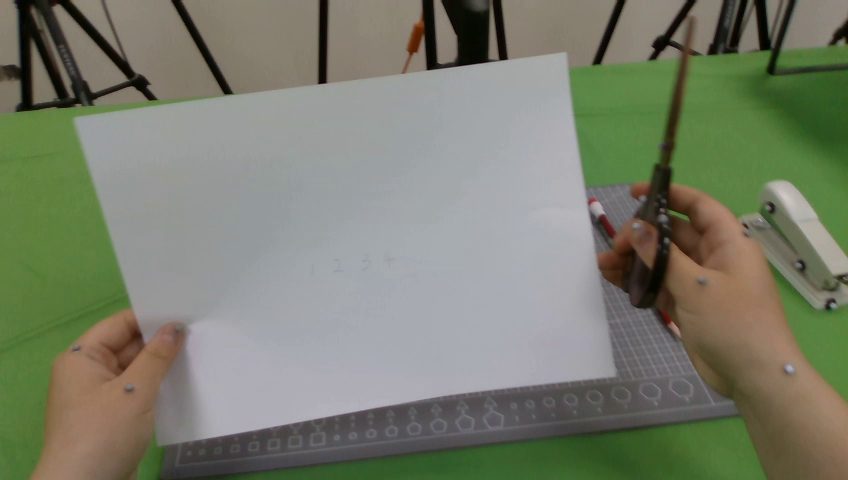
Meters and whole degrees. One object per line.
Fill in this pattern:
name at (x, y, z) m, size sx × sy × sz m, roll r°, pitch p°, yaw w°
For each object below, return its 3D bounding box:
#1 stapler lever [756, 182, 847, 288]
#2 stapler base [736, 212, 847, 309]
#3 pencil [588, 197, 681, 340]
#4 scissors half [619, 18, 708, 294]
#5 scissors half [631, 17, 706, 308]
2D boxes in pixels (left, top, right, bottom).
stapler lever at (0.346, -0.009, 0.550) m, size 0.027 × 0.040 × 0.116 m, roll -11°, pitch 42°, yaw -6°
stapler base at (0.346, 0.010, 0.568) m, size 0.041 × 0.024 × 0.129 m, roll -10°, pitch 42°, yaw -6°
pencil at (0.194, 0.020, 0.567) m, size 0.012 × 0.012 × 0.192 m, roll -8°, pitch 42°, yaw -7°
scissors half at (0.150, -0.048, 0.382) m, size 0.013 × 0.176 × 0.040 m, roll 9°, pitch 21°, yaw -2°
scissors half at (0.149, -0.044, 0.362) m, size 0.013 × 0.175 × 0.040 m, roll 10°, pitch 4°, yaw 4°
